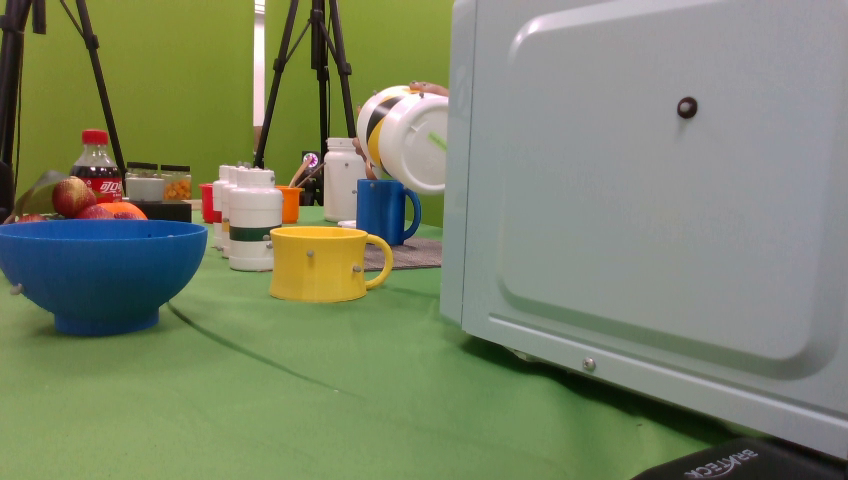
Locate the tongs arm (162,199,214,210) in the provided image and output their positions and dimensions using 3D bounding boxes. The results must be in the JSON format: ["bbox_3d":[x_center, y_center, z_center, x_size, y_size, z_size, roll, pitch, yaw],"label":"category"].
[{"bbox_3d":[-0.504,-0.091,1.513,0.028,0.028,0.389,0,4,37],"label":"tongs arm"}]

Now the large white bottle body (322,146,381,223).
[{"bbox_3d":[-0.163,-0.135,1.369,0.131,0.184,0.130,2,7,0],"label":"large white bottle body"}]

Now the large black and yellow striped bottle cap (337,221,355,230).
[{"bbox_3d":[-0.107,-0.022,1.148,0.115,0.019,0.115,1,8,0],"label":"large black and yellow striped bottle cap"}]

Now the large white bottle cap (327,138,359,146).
[{"bbox_3d":[-0.160,-0.218,1.357,0.115,0.018,0.115,2,8,0],"label":"large white bottle cap"}]

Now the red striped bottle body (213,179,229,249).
[{"bbox_3d":[-0.283,-0.047,0.908,0.063,0.119,0.063,2,8,0],"label":"red striped bottle body"}]

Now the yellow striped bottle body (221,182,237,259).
[{"bbox_3d":[-0.244,-0.035,0.823,0.063,0.120,0.063,2,8,0],"label":"yellow striped bottle body"}]

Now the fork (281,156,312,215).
[{"bbox_3d":[-0.289,-0.116,1.320,0.028,0.019,0.207,0,49,25],"label":"fork"}]

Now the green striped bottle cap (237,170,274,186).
[{"bbox_3d":[-0.205,-0.075,0.737,0.044,0.020,0.044,1,5,0],"label":"green striped bottle cap"}]

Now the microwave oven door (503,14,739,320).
[{"bbox_3d":[0.218,-0.065,0.600,0.358,0.243,0.039,-4,10,-41],"label":"microwave oven door"}]

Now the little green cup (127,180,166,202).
[{"bbox_3d":[-0.486,-0.086,1.061,0.061,0.038,0.061,0,7,0],"label":"little green cup"}]

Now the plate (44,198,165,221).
[{"bbox_3d":[-0.617,-0.056,1.179,0.209,0.038,0.209,3,7,0],"label":"plate"}]

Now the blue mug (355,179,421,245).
[{"bbox_3d":[-0.058,-0.047,1.005,0.116,0.106,0.082,6,9,23],"label":"blue mug"}]

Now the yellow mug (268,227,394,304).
[{"bbox_3d":[-0.094,0.023,0.630,0.131,0.064,0.099,0,7,-22],"label":"yellow mug"}]

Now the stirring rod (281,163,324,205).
[{"bbox_3d":[-0.278,-0.105,1.293,0.176,0.006,0.014,-47,24,-18],"label":"stirring rod"}]

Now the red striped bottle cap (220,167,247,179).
[{"bbox_3d":[-0.281,-0.100,0.901,0.044,0.017,0.044,-1,5,0],"label":"red striped bottle cap"}]

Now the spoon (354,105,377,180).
[{"bbox_3d":[-0.099,-0.163,1.039,0.021,0.193,0.042,-13,-34,1],"label":"spoon"}]

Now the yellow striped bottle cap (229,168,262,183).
[{"bbox_3d":[-0.240,-0.087,0.816,0.044,0.018,0.044,-2,5,1],"label":"yellow striped bottle cap"}]

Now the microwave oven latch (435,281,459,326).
[{"bbox_3d":[0.044,0.046,0.470,0.079,0.029,0.030,-3,8,-40],"label":"microwave oven latch"}]

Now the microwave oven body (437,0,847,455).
[{"bbox_3d":[0.279,-0.040,0.464,0.444,0.260,0.324,-3,8,-41],"label":"microwave oven body"}]

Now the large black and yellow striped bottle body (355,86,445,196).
[{"bbox_3d":[-0.019,-0.148,0.859,0.131,0.130,0.183,-1,20,-24],"label":"large black and yellow striped bottle body"}]

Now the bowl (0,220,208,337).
[{"bbox_3d":[-0.251,0.029,0.479,0.151,0.077,0.151,2,7,0],"label":"bowl"}]

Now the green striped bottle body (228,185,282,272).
[{"bbox_3d":[-0.208,-0.023,0.745,0.063,0.119,0.063,2,7,0],"label":"green striped bottle body"}]

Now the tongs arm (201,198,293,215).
[{"bbox_3d":[-0.423,-0.084,1.472,0.050,0.026,0.386,2,6,21],"label":"tongs arm"}]
